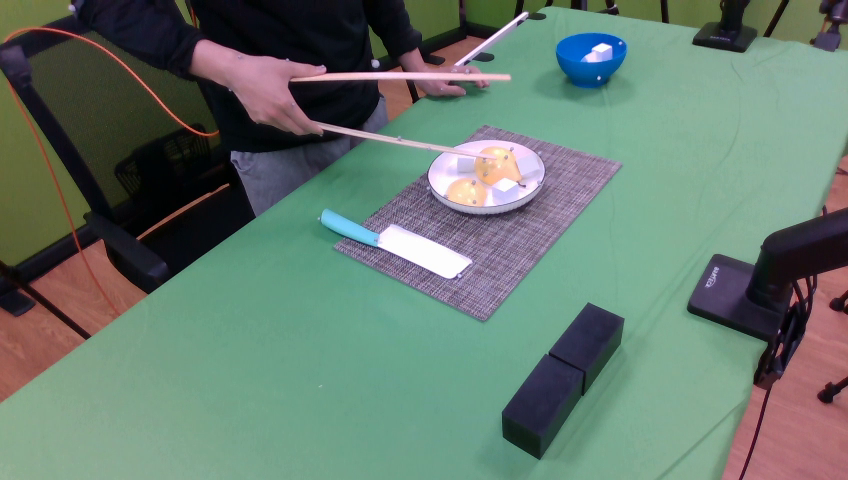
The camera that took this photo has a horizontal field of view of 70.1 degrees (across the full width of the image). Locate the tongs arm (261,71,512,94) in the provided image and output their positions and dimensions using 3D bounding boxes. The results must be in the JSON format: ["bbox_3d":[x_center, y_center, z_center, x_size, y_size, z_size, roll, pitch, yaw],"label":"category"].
[{"bbox_3d":[-0.057,-0.247,0.938,0.388,0.028,0.027,-2,33,-3],"label":"tongs arm"}]

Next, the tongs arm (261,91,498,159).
[{"bbox_3d":[-0.065,-0.183,0.971,0.386,0.051,0.026,7,29,-8],"label":"tongs arm"}]

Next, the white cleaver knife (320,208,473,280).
[{"bbox_3d":[-0.053,0.002,0.978,0.284,0.021,0.066,24,39,26],"label":"white cleaver knife"}]

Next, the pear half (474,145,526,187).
[{"bbox_3d":[0.140,-0.129,1.059,0.076,0.056,0.109,-37,53,-25],"label":"pear half"}]

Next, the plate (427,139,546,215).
[{"bbox_3d":[0.109,-0.106,1.058,0.207,0.039,0.206,-4,40,4],"label":"plate"}]

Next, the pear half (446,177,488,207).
[{"bbox_3d":[0.073,-0.086,1.032,0.070,0.031,0.087,-20,36,-10],"label":"pear half"}]

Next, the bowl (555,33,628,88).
[{"bbox_3d":[0.361,-0.384,1.319,0.151,0.077,0.150,-4,41,4],"label":"bowl"}]
